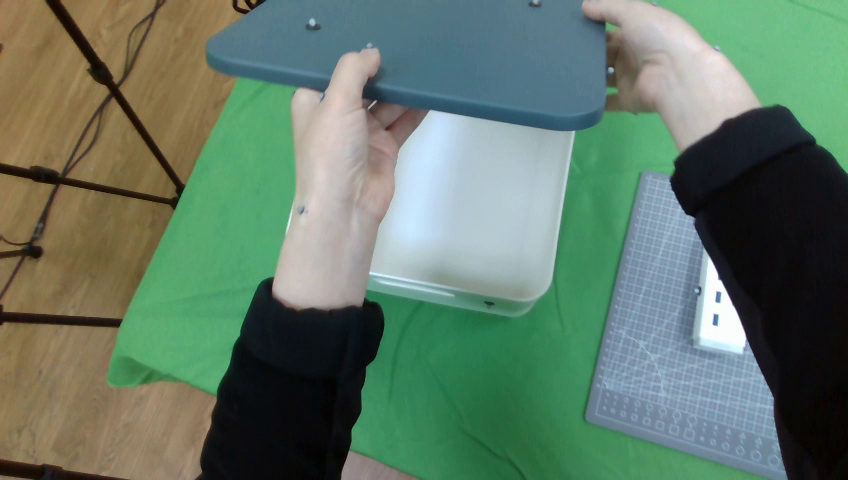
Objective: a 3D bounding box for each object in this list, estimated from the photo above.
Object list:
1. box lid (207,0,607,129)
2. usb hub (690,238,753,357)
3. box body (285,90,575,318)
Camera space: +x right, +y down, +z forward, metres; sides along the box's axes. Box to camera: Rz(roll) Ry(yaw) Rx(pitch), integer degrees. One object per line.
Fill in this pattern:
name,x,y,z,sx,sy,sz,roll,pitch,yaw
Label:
box lid,0.019,-0.193,0.504,0.263,0.015,0.369,11,38,8
usb hub,0.327,0.062,0.666,0.049,0.025,0.124,12,77,8
box body,0.030,-0.110,0.671,0.254,0.161,0.362,10,76,8
